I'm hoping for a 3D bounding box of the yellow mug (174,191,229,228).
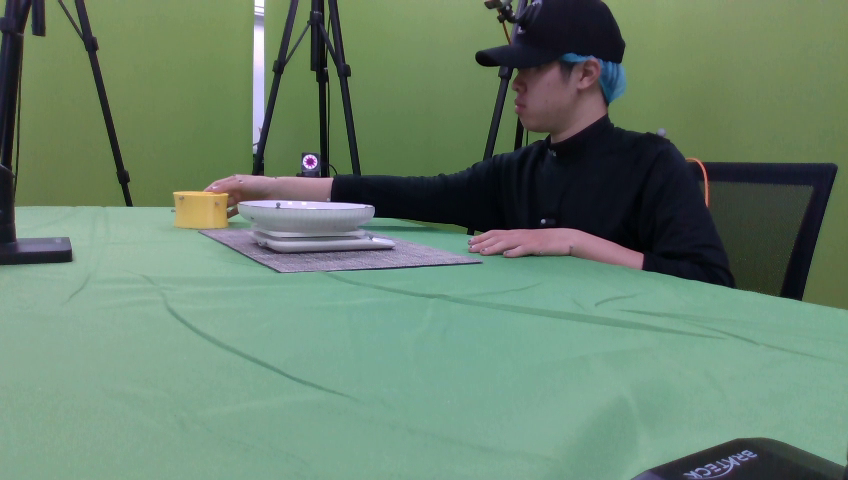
[{"bbox_3d":[-0.427,-0.062,1.189,0.100,0.064,0.131,5,7,13],"label":"yellow mug"}]

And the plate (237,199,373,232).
[{"bbox_3d":[-0.183,-0.039,0.941,0.209,0.038,0.209,3,7,0],"label":"plate"}]

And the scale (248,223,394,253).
[{"bbox_3d":[-0.162,-0.006,0.954,0.202,0.031,0.148,-1,9,-32],"label":"scale"}]
